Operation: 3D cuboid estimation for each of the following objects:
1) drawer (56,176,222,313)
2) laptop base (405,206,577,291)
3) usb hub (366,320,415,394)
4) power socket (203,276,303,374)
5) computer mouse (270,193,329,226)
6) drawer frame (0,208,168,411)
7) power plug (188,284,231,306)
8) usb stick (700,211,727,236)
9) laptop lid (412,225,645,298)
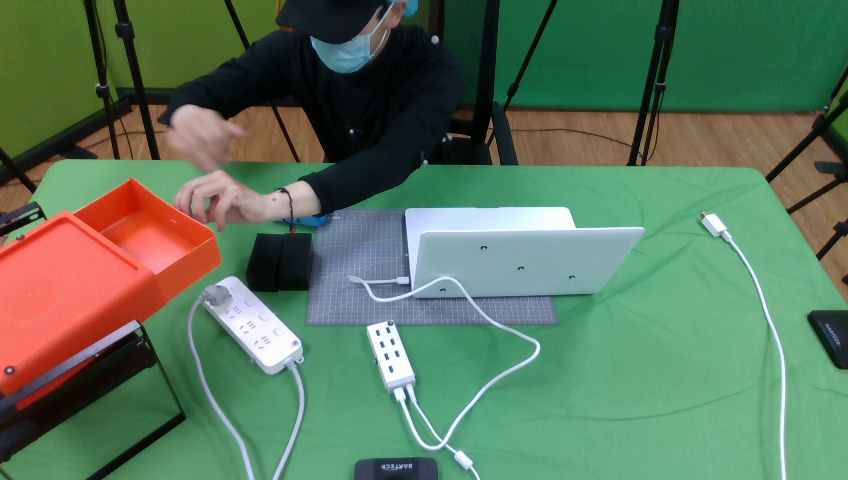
[{"bbox_3d":[-0.433,0.024,0.855,0.193,0.073,0.211,30,52,22],"label":"drawer"},{"bbox_3d":[0.143,0.018,1.196,0.355,0.023,0.234,-1,43,-6],"label":"laptop base"},{"bbox_3d":[-0.056,0.192,1.009,0.049,0.025,0.124,-12,49,-16],"label":"usb hub"},{"bbox_3d":[-0.295,0.141,1.034,0.072,0.033,0.225,-34,58,-30],"label":"power socket"},{"bbox_3d":[-0.254,-0.064,1.228,0.117,0.041,0.062,5,49,10],"label":"computer mouse"},{"bbox_3d":[-0.492,0.080,0.794,0.201,0.083,0.213,28,51,21],"label":"drawer frame"},{"bbox_3d":[-0.368,0.100,1.037,0.072,0.053,0.035,-22,53,-26],"label":"power plug"},{"bbox_3d":[0.606,-0.038,1.273,0.027,0.021,0.059,-18,56,-20],"label":"usb stick"},{"bbox_3d":[0.161,0.042,1.012,0.357,0.242,0.013,0,59,-7],"label":"laptop lid"}]
